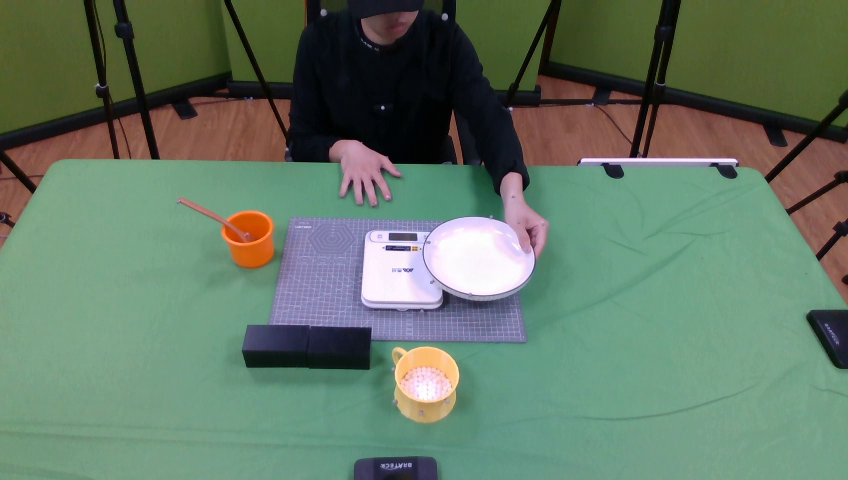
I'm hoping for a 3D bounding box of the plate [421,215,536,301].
[{"bbox_3d":[0.098,0.035,1.108,0.209,0.038,0.208,2,43,-1],"label":"plate"}]

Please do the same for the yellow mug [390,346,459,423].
[{"bbox_3d":[-0.009,0.217,0.958,0.100,0.064,0.130,-33,56,-31],"label":"yellow mug"}]

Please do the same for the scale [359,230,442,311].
[{"bbox_3d":[-0.042,0.048,1.138,0.149,0.032,0.199,2,46,-3],"label":"scale"}]

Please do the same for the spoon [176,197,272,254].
[{"bbox_3d":[-0.362,-0.027,1.108,0.021,0.195,0.041,-35,36,24],"label":"spoon"}]
